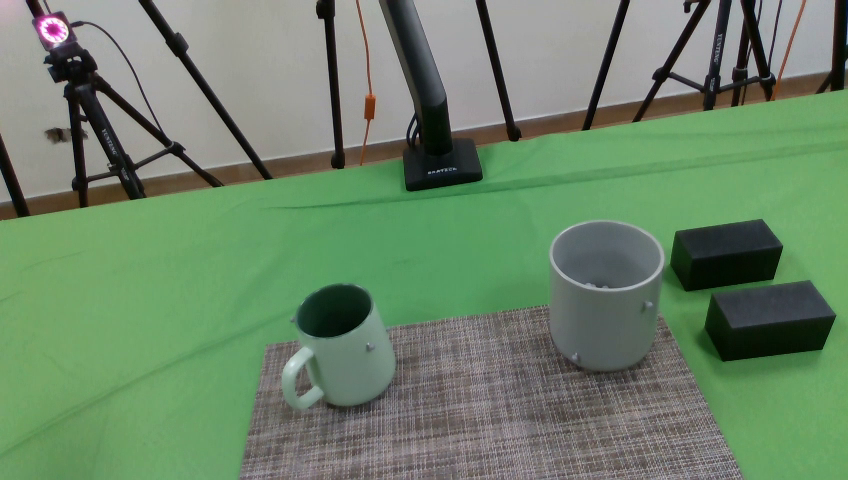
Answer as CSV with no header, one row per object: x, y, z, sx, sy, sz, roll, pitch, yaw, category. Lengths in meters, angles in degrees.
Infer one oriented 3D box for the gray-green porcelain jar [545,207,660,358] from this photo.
0.176,0.047,0.610,0.106,0.128,0.105,-6,40,5,gray-green porcelain jar

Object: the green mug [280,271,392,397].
-0.094,0.106,0.614,0.092,0.106,0.125,21,49,31,green mug
